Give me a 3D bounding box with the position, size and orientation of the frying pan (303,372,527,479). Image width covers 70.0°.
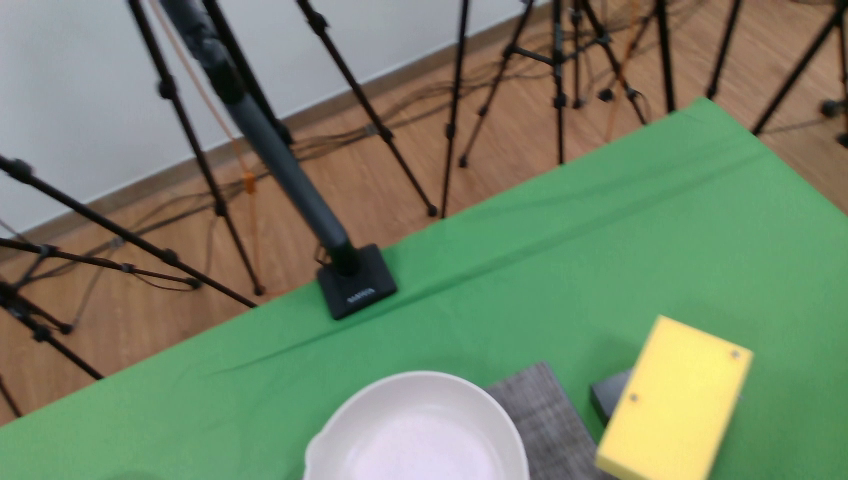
[{"bbox_3d":[-0.046,0.395,0.730,0.305,0.104,0.485,9,49,21],"label":"frying pan"}]

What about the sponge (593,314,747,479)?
[{"bbox_3d":[0.305,0.209,0.751,0.117,0.061,0.206,21,62,25],"label":"sponge"}]
